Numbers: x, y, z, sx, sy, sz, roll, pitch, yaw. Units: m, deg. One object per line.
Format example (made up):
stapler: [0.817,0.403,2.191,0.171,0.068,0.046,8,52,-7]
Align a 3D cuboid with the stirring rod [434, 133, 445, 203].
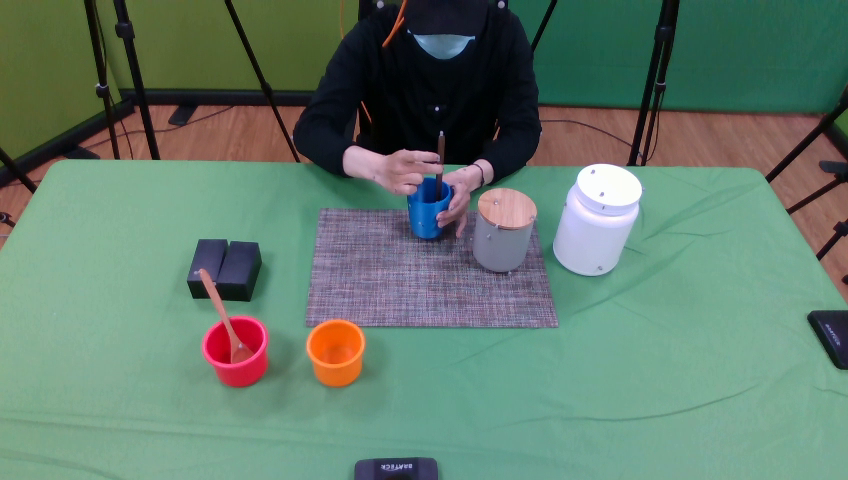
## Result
stirring rod: [0.028,-0.122,1.147,0.014,0.177,0.006,-29,49,-34]

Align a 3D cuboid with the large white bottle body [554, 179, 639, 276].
large white bottle body: [0.326,-0.036,1.141,0.131,0.185,0.130,2,46,-2]

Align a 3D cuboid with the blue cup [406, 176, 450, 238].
blue cup: [0.007,-0.059,1.176,0.092,0.101,0.092,1,44,-1]

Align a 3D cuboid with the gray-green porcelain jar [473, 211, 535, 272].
gray-green porcelain jar: [0.147,-0.010,1.139,0.106,0.127,0.105,2,46,-2]

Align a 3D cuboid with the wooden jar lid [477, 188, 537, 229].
wooden jar lid: [0.149,-0.054,1.094,0.108,0.021,0.107,4,45,-4]

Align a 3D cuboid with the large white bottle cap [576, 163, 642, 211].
large white bottle cap: [0.330,-0.096,1.080,0.115,0.018,0.114,2,46,-2]

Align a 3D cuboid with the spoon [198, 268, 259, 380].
spoon: [-0.313,0.132,0.962,0.041,0.021,0.194,-24,96,-20]
